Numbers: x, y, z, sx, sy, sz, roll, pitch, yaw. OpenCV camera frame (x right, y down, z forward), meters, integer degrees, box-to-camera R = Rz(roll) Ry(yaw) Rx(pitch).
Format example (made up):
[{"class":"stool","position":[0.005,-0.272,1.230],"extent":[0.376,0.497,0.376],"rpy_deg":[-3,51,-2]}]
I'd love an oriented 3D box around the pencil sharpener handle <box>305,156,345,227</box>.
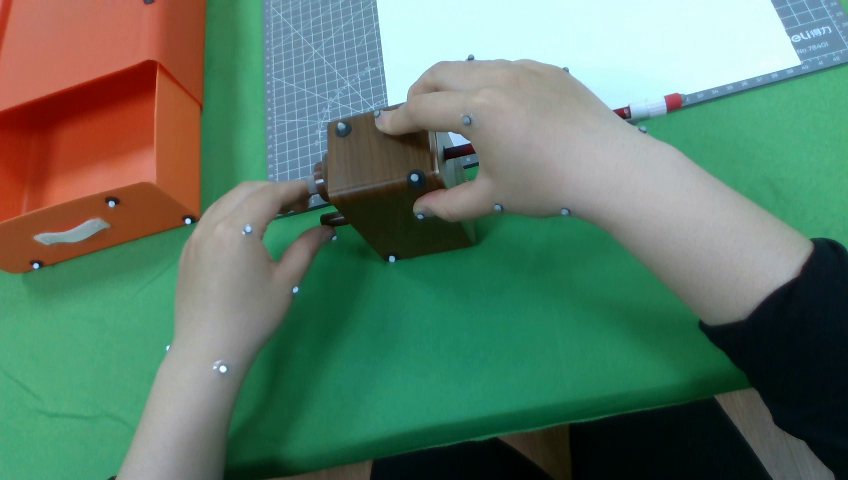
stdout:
[{"class":"pencil sharpener handle","position":[-0.068,-0.028,0.409],"extent":[0.030,0.068,0.035],"rpy_deg":[-13,63,12]}]

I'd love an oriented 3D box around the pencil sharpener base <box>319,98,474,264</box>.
[{"class":"pencil sharpener base","position":[-0.015,-0.034,0.409],"extent":[0.076,0.108,0.061],"rpy_deg":[-13,64,12]}]

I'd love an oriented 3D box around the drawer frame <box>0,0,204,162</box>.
[{"class":"drawer frame","position":[-0.320,-0.194,0.588],"extent":[0.201,0.083,0.211],"rpy_deg":[-15,63,11]}]

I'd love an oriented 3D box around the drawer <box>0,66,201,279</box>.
[{"class":"drawer","position":[-0.300,-0.090,0.539],"extent":[0.194,0.074,0.210],"rpy_deg":[-16,63,11]}]

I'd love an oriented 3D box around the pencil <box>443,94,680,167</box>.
[{"class":"pencil","position":[0.054,-0.058,0.366],"extent":[0.194,0.012,0.012],"rpy_deg":[-13,64,10]}]
